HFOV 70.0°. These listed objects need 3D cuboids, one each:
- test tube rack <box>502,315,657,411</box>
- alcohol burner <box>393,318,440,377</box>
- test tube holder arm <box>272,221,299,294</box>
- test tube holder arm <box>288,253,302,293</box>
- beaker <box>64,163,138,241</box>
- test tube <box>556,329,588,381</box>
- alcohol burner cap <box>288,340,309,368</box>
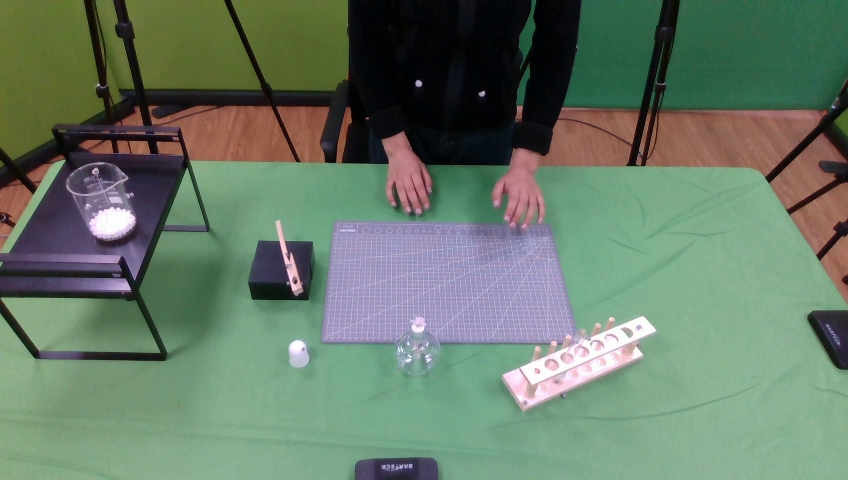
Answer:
[{"bbox_3d":[0.253,0.186,0.989,0.242,0.085,0.066,-18,50,-20],"label":"test tube rack"},{"bbox_3d":[-0.011,0.166,0.971,0.078,0.120,0.077,2,45,-1],"label":"alcohol burner"},{"bbox_3d":[-0.250,0.028,1.086,0.013,0.015,0.177,-17,49,-17],"label":"test tube holder arm"},{"bbox_3d":[-0.227,0.057,1.059,0.010,0.015,0.087,-15,48,-16],"label":"test tube holder arm"},{"bbox_3d":[-0.477,-0.055,0.910,0.084,0.101,0.073,-9,48,-13],"label":"beaker"},{"bbox_3d":[0.224,0.178,0.925,0.017,0.151,0.017,2,52,-2],"label":"test tube"},{"bbox_3d":[-0.207,0.182,0.991,0.034,0.048,0.033,2,46,-2],"label":"alcohol burner cap"}]
